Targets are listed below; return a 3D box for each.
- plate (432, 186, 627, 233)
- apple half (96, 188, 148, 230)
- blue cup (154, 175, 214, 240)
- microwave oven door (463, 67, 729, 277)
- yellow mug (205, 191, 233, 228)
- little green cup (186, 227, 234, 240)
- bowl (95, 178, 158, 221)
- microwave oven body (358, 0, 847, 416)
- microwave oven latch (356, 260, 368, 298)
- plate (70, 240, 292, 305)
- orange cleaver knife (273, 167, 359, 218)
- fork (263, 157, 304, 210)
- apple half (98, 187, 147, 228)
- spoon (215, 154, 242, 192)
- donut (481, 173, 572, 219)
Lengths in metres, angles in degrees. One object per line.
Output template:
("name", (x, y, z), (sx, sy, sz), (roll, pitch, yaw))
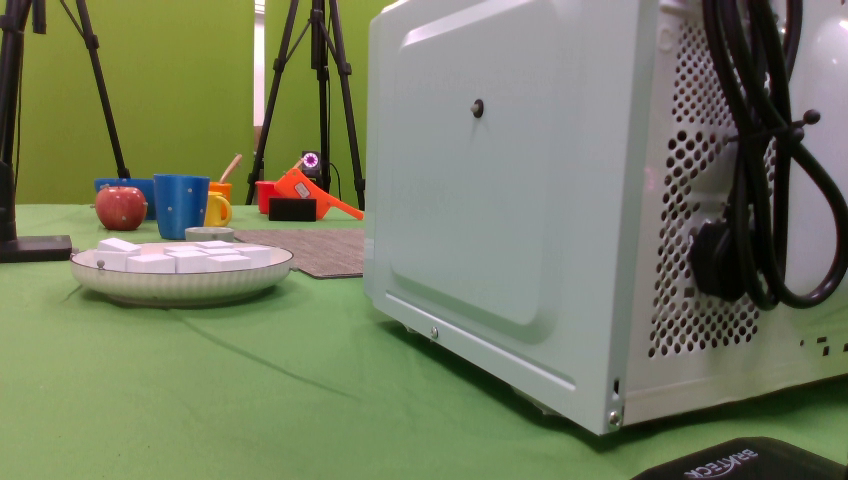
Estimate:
("plate", (0.112, -0.036, 0.661), (0.209, 0.038, 0.209), (-1, 8, 0))
("apple half", (-0.517, -0.052, 1.036), (0.081, 0.074, 0.053), (2, 10, -26))
("blue cup", (-0.390, -0.053, 0.978), (0.093, 0.100, 0.092), (3, 6, 0))
("microwave oven door", (0.205, -0.096, 0.811), (0.354, 0.243, 0.039), (9, 11, 40))
("yellow mug", (-0.415, -0.057, 1.132), (0.130, 0.064, 0.100), (6, 8, 16))
("little green cup", (-0.284, 0.005, 0.805), (0.061, 0.038, 0.061), (2, 8, 0))
("bowl", (-0.576, -0.081, 1.217), (0.151, 0.077, 0.151), (3, 8, 0))
("microwave oven body", (0.211, -0.047, 0.474), (0.444, 0.260, 0.324), (-1, 7, -28))
("microwave oven latch", (-0.019, 0.033, 0.529), (0.079, 0.029, 0.030), (0, 7, -24))
("plate", (-0.242, 0.031, 0.618), (0.208, 0.039, 0.207), (2, 8, 0))
("orange cleaver knife", (-0.238, -0.091, 1.381), (0.212, 0.077, 0.012), (31, 0, -19))
("fork", (-0.345, -0.143, 1.505), (0.028, 0.019, 0.207), (-4, 46, 28))
("apple half", (-0.534, -0.059, 1.071), (0.082, 0.081, 0.032), (-1, 11, -25))
("spoon", (-0.438, -0.124, 1.318), (0.041, 0.193, 0.022), (6, -36, 15))
("donut", (0.112, -0.046, 0.665), (0.099, 0.048, 0.099), (8, 4, 0))
